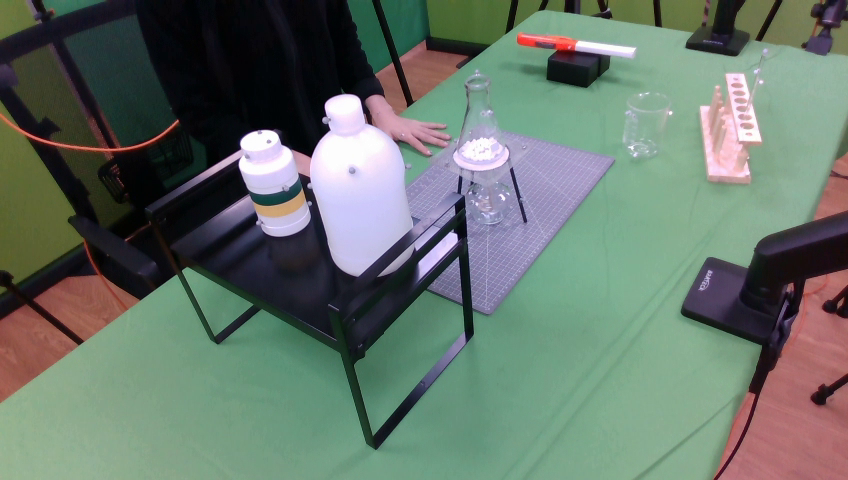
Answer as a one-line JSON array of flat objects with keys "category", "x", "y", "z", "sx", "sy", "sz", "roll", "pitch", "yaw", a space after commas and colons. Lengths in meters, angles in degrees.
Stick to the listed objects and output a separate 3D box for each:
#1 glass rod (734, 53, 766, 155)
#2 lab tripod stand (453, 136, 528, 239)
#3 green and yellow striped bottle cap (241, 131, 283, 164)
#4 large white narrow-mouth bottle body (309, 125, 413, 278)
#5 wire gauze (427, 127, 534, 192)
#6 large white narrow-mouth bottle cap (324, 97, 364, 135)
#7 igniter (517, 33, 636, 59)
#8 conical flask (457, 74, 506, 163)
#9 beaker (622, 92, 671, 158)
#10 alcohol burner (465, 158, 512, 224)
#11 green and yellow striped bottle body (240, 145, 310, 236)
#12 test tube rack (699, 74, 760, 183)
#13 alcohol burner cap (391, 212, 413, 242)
[{"category": "glass rod", "x": 0.541, "y": -0.219, "z": 1.006, "sx": 0.008, "sy": 0.201, "sz": 0.008, "roll": -5, "pitch": 45, "yaw": 6}, {"category": "lab tripod stand", "x": 0.095, "y": -0.086, "z": 0.974, "sx": 0.148, "sy": 0.132, "sz": 0.147, "roll": -4, "pitch": 43, "yaw": 4}, {"category": "green and yellow striped bottle cap", "x": -0.187, "y": -0.107, "z": 0.695, "sx": 0.045, "sy": 0.020, "sz": 0.045, "roll": -3, "pitch": 39, "yaw": 3}, {"category": "large white narrow-mouth bottle body", "x": -0.068, "y": -0.057, "z": 0.645, "sx": 0.102, "sy": 0.195, "sz": 0.101, "roll": -3, "pitch": 42, "yaw": 4}, {"category": "wire gauze", "x": 0.086, "y": -0.130, "z": 0.925, "sx": 0.124, "sy": 0.011, "sz": 0.122, "roll": 28, "pitch": 54, "yaw": 31}, {"category": "large white narrow-mouth bottle cap", "x": -0.076, "y": -0.120, "z": 0.585, "sx": 0.038, "sy": 0.024, "sz": 0.037, "roll": -3, "pitch": 42, "yaw": 3}, {"category": "igniter", "x": 0.336, "y": -0.441, "z": 1.369, "sx": 0.275, "sy": 0.025, "sz": 0.057, "roll": 17, "pitch": 41, "yaw": 24}, {"category": "conical flask", "x": 0.082, "y": -0.181, "z": 0.893, "sx": 0.075, "sy": 0.122, "sz": 0.075, "roll": -4, "pitch": 41, "yaw": 4}, {"category": "beaker", "x": 0.402, "y": -0.209, "z": 1.106, "sx": 0.074, "sy": 0.101, "sz": 0.083, "roll": -9, "pitch": 40, "yaw": -2}, {"category": "alcohol burner", "x": 0.105, "y": -0.085, "z": 0.987, "sx": 0.078, "sy": 0.119, "sz": 0.077, "roll": -5, "pitch": 43, "yaw": 5}, {"category": "green and yellow striped bottle body", "x": -0.181, "y": -0.068, "z": 0.729, "sx": 0.063, "sy": 0.120, "sz": 0.063, "roll": -4, "pitch": 40, "yaw": 4}, {"category": "test tube rack", "x": 0.547, "y": -0.208, "z": 1.095, "sx": 0.066, "sy": 0.085, "sz": 0.242, "roll": 6, "pitch": 42, "yaw": 15}, {"category": "alcohol burner cap", "x": -0.038, "y": -0.023, "z": 0.989, "sx": 0.034, "sy": 0.048, "sz": 0.033, "roll": -5, "pitch": 40, "yaw": 4}]
